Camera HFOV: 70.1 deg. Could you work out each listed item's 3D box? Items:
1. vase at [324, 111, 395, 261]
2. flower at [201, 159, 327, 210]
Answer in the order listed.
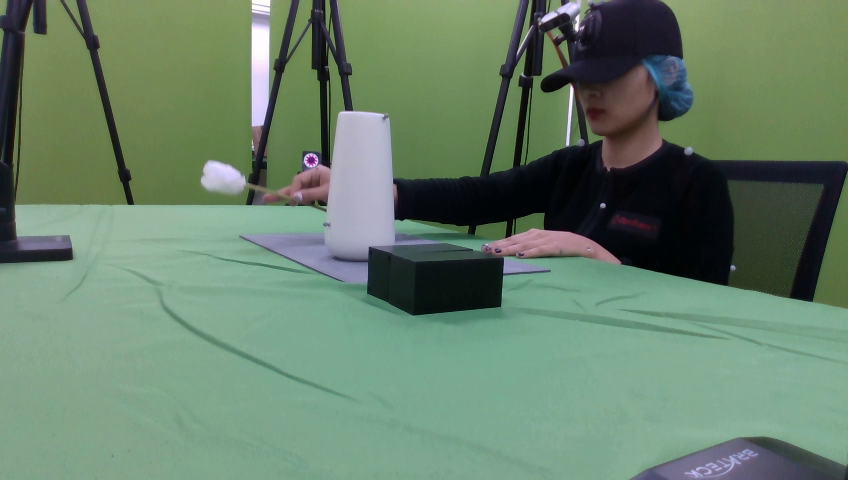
[{"bbox_3d":[-0.087,-0.074,0.828,0.098,0.200,0.098,2,9,0],"label":"vase"},{"bbox_3d":[-0.190,-0.063,1.001,0.364,0.044,0.038,16,-44,-43],"label":"flower"}]
